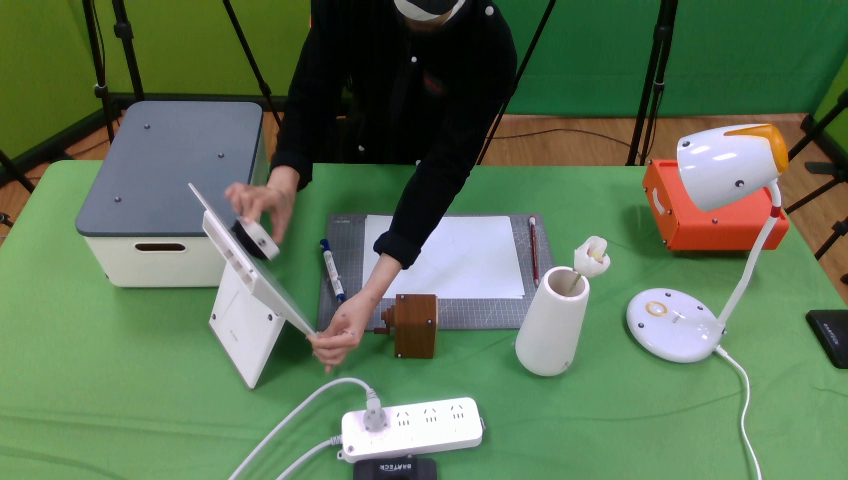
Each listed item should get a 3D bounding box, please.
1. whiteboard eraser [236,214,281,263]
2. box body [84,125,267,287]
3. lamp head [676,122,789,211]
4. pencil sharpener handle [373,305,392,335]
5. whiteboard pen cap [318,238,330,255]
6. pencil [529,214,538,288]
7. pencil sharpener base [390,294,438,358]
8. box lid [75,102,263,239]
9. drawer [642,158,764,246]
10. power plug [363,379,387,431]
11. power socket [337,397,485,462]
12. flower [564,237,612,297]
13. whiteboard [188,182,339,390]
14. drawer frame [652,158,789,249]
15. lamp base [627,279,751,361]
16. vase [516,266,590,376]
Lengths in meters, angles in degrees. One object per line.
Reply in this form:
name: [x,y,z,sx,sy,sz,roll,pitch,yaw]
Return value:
whiteboard eraser: [-0.262,-0.001,0.945,0.042,0.056,0.112,-42,28,-9]
box body: [-0.446,-0.088,1.150,0.254,0.161,0.361,-1,46,-5]
lamp head: [0.423,-0.104,0.819,0.122,0.113,0.112,-13,33,39]
pencil sharpener handle: [-0.068,0.133,0.989,0.030,0.068,0.036,1,46,-2]
whiteboard pen cap: [-0.191,0.013,1.163,0.018,0.018,0.033,-13,50,-16]
pencil: [0.218,0.019,1.201,0.012,0.012,0.193,5,48,1]
pencil sharpener base: [-0.018,0.143,1.000,0.077,0.107,0.061,1,46,-2]
box lid: [-0.443,-0.138,1.094,0.263,0.015,0.369,-1,47,-5]
drawer: [0.565,-0.076,1.211,0.212,0.073,0.193,2,45,-2]
power plug: [-0.072,0.252,0.910,0.035,0.053,0.072,3,44,-1]
power socket: [-0.018,0.285,0.915,0.227,0.033,0.071,-5,46,-8]
flower: [0.206,0.088,0.893,0.038,0.363,0.044,-16,67,-9]
whiteboard: [-0.292,0.096,0.929,0.144,0.307,0.216,-38,57,-10]
drawer frame: [0.571,-0.075,1.214,0.214,0.083,0.200,0,46,-1]
lamp base: [0.459,0.100,1.027,0.178,0.181,0.160,27,51,17]
vase: [0.208,0.132,0.964,0.098,0.201,0.097,3,46,-3]
